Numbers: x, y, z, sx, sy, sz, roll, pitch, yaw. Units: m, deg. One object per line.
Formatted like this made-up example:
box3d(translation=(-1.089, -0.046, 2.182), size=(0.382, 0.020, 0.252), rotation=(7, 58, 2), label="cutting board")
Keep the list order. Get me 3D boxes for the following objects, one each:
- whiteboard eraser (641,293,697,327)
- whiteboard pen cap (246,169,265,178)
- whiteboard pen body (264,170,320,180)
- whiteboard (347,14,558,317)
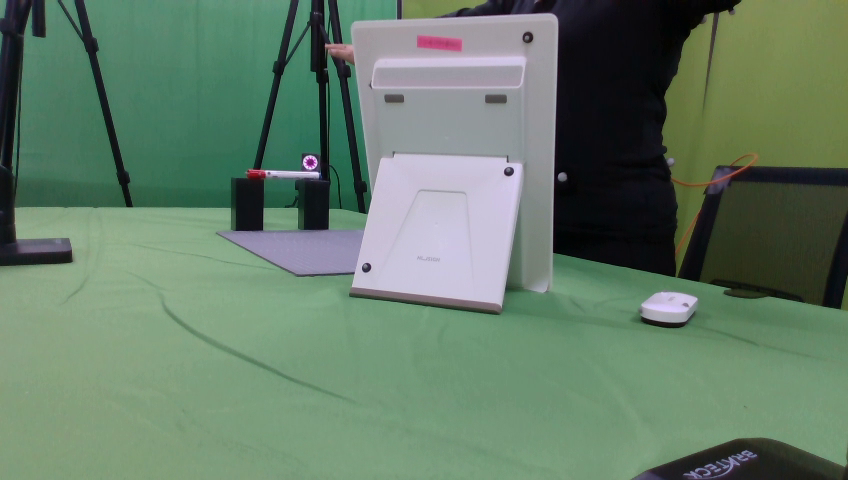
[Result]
box3d(translation=(0.240, 0.066, 0.591), size=(0.041, 0.019, 0.102), rotation=(6, 7, 31), label="whiteboard eraser")
box3d(translation=(-0.318, -0.125, 1.143), size=(0.032, 0.017, 0.017), rotation=(-1, 8, -35), label="whiteboard pen cap")
box3d(translation=(-0.269, -0.127, 1.179), size=(0.141, 0.017, 0.017), rotation=(-2, 8, -36), label="whiteboard pen body")
box3d(translation=(0.012, -0.056, 0.609), size=(0.216, 0.305, 0.144), rotation=(5, 27, 20), label="whiteboard")
